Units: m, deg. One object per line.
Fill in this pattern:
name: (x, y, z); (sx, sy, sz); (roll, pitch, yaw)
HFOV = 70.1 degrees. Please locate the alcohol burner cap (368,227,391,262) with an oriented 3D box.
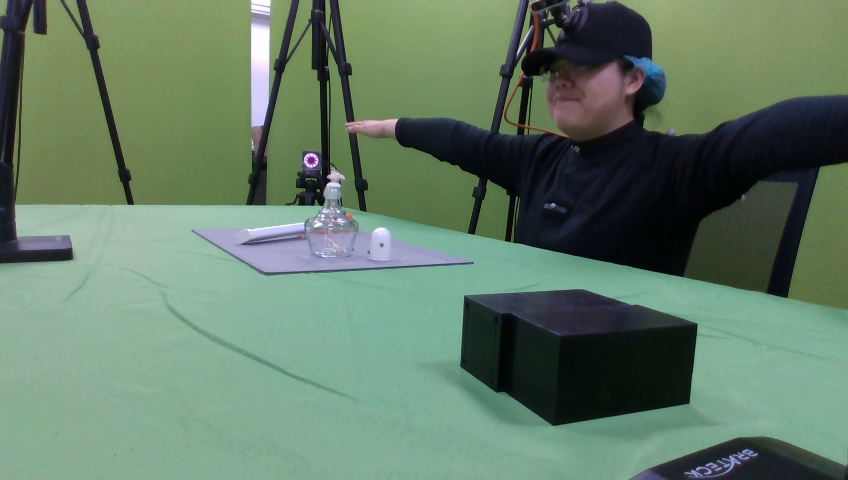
alcohol burner cap: (-0.060, 0.006, 0.837); (0.034, 0.048, 0.034); (3, 7, 0)

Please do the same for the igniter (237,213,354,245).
igniter: (-0.206, -0.021, 1.034); (0.057, 0.025, 0.278); (-19, -2, 30)

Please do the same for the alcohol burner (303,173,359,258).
alcohol burner: (-0.130, -0.035, 0.850); (0.078, 0.119, 0.078); (2, 5, 0)
